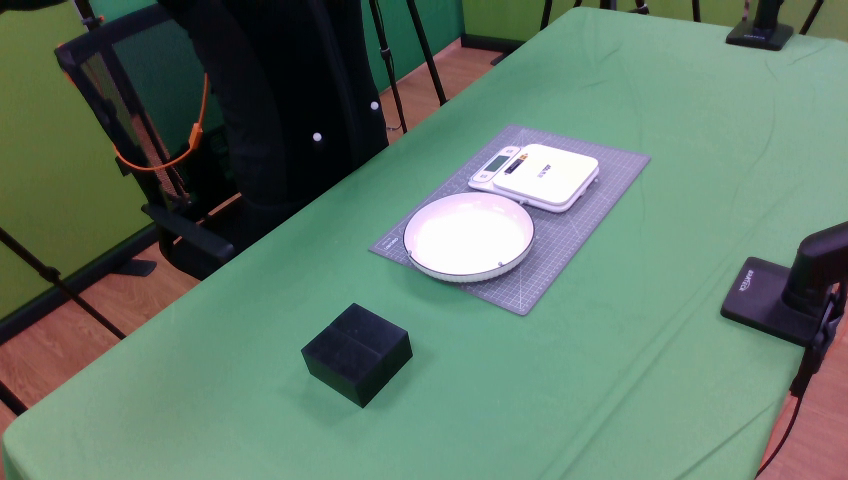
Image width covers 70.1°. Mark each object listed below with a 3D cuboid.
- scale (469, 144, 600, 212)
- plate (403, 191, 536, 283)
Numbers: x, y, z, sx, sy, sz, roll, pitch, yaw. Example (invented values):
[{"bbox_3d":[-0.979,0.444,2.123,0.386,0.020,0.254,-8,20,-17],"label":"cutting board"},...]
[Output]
[{"bbox_3d":[0.194,-0.117,1.075,0.199,0.032,0.149,21,48,32],"label":"scale"},{"bbox_3d":[0.071,-0.003,0.959,0.209,0.038,0.208,-5,40,5],"label":"plate"}]
